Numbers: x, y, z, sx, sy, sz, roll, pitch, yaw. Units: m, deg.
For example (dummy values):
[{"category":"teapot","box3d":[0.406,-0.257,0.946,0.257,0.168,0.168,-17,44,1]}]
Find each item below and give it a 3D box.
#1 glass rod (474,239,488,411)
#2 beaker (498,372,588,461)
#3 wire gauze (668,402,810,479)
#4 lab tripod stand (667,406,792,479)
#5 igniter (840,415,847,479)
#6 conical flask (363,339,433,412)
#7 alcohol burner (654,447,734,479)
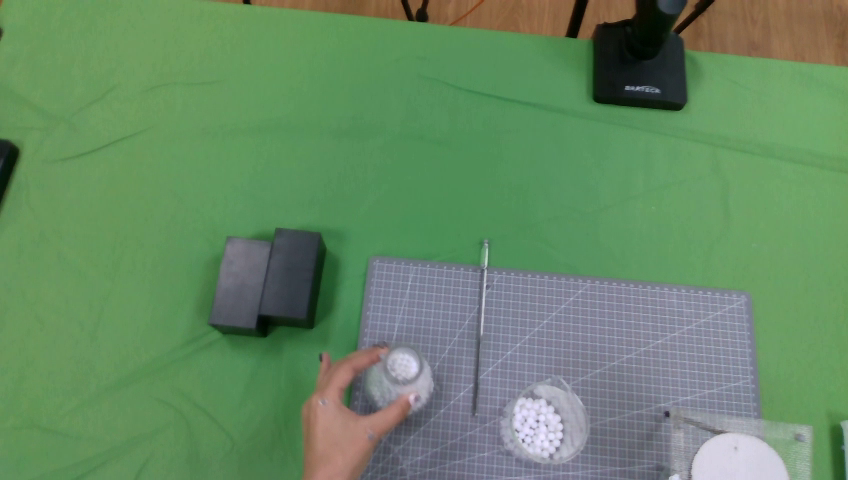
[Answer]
[{"category":"glass rod","box3d":[0.065,0.092,0.688,0.008,0.008,0.198,5,71,0]},{"category":"beaker","box3d":[0.116,0.180,0.611,0.074,0.101,0.083,16,70,4]},{"category":"wire gauze","box3d":[0.271,0.207,0.516,0.125,0.011,0.121,8,72,2]},{"category":"lab tripod stand","box3d":[0.269,0.231,0.579,0.148,0.132,0.147,0,72,-1]},{"category":"igniter","box3d":[0.447,0.319,0.613,0.057,0.025,0.275,13,71,-8]},{"category":"conical flask","box3d":[-0.024,0.128,0.601,0.075,0.122,0.075,2,69,-4]},{"category":"alcohol burner","box3d":[0.270,0.241,0.587,0.078,0.120,0.077,0,71,1]}]
